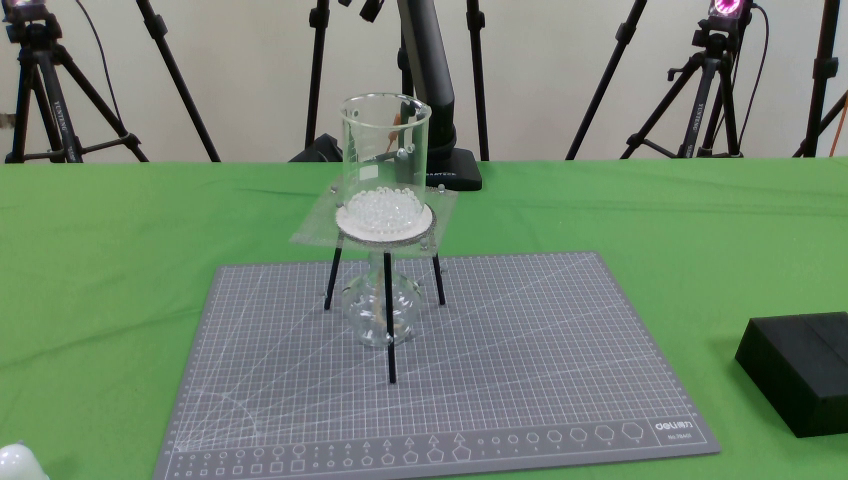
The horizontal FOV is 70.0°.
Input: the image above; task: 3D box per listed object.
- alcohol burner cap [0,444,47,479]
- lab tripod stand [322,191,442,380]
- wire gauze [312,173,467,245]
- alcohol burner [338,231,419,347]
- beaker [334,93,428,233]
[{"bbox_3d":[-0.295,0.167,0.434,0.034,0.048,0.033,3,33,-2],"label":"alcohol burner cap"},{"bbox_3d":[-0.035,0.034,0.569,0.148,0.132,0.147,3,34,-2],"label":"lab tripod stand"},{"bbox_3d":[-0.032,-0.031,0.519,0.125,0.011,0.120,2,30,-11],"label":"wire gauze"},{"bbox_3d":[-0.042,0.042,0.574,0.078,0.120,0.077,3,32,-2],"label":"alcohol burner"},{"bbox_3d":[-0.033,-0.064,0.510,0.084,0.101,0.073,-25,43,-35],"label":"beaker"}]
